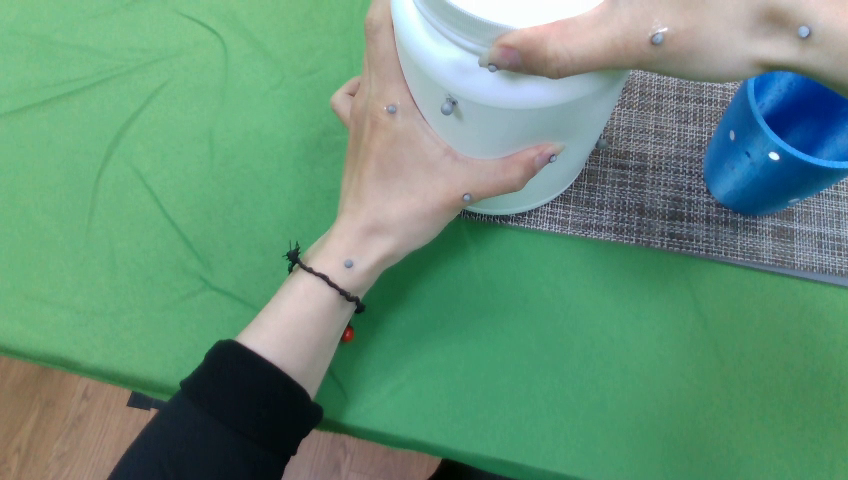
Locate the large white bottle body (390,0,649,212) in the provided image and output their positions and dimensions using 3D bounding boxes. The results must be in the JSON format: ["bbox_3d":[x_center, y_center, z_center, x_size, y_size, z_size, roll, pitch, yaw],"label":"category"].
[{"bbox_3d":[0.048,-0.107,0.348,0.130,0.186,0.129,0,70,1],"label":"large white bottle body"}]

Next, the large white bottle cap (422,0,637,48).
[{"bbox_3d":[0.046,-0.137,0.268,0.115,0.018,0.114,0,71,0],"label":"large white bottle cap"}]

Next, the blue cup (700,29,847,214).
[{"bbox_3d":[0.219,-0.062,0.374,0.092,0.101,0.092,-1,70,3],"label":"blue cup"}]
